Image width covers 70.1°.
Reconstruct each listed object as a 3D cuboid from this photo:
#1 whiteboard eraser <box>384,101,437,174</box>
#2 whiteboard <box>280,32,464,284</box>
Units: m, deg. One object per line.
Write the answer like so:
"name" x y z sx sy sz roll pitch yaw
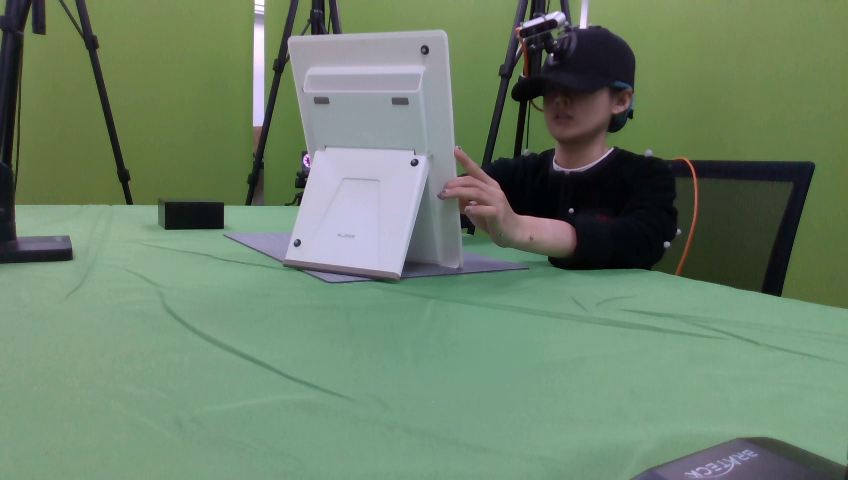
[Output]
"whiteboard eraser" -0.017 -0.128 0.762 0.041 0.101 0.019 33 33 6
"whiteboard" -0.087 -0.079 0.728 0.216 0.305 0.144 7 28 24
